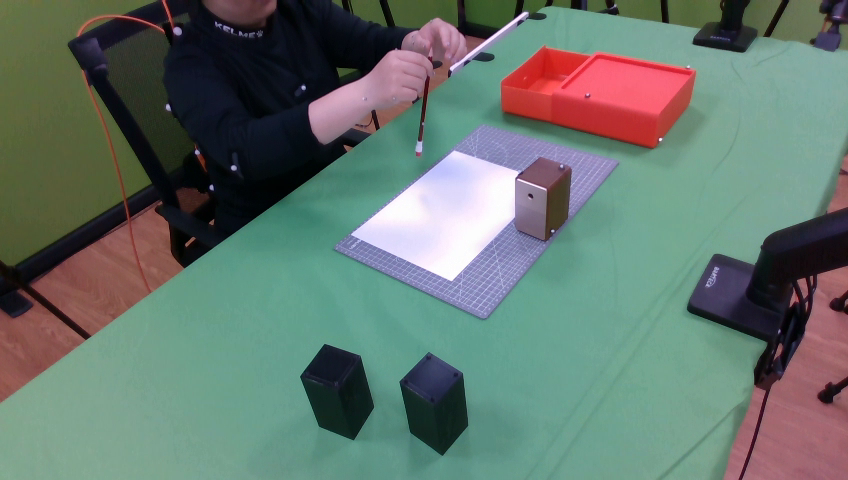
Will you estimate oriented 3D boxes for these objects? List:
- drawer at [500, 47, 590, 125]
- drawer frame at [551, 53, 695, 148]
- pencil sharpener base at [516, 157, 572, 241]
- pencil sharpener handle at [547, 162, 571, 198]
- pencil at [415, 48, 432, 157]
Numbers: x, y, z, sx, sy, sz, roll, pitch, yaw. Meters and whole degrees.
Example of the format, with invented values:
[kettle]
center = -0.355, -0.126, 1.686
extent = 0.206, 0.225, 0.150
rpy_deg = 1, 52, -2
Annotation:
[drawer]
center = 0.295, -0.316, 1.255
extent = 0.210, 0.073, 0.195
rpy_deg = 22, 47, 29
[drawer frame]
center = 0.391, -0.281, 1.196
extent = 0.212, 0.083, 0.202
rpy_deg = 22, 48, 29
[pencil sharpener base]
center = 0.189, -0.065, 0.948
extent = 0.061, 0.107, 0.077
rpy_deg = 24, 49, 33
[pencil sharpener handle]
center = 0.221, -0.102, 0.968
extent = 0.035, 0.068, 0.031
rpy_deg = 20, 46, 37
[pencil]
center = 0.000, -0.228, 1.022
extent = 0.012, 0.194, 0.012
rpy_deg = 6, 33, -3
